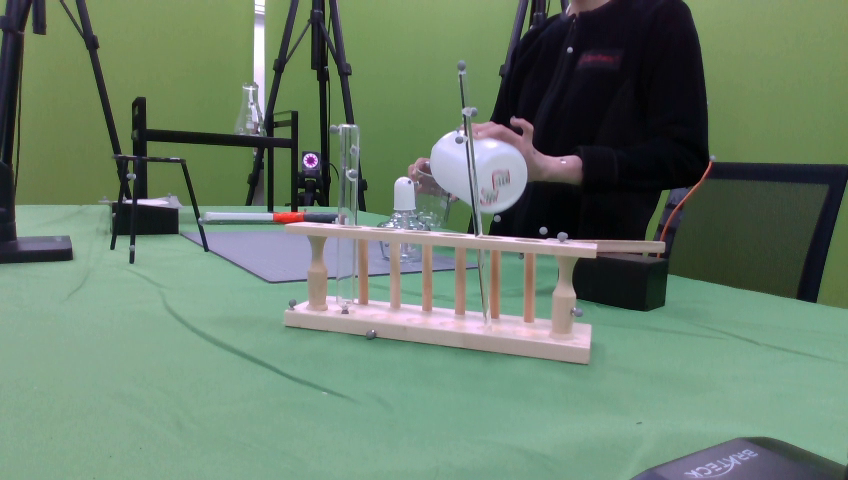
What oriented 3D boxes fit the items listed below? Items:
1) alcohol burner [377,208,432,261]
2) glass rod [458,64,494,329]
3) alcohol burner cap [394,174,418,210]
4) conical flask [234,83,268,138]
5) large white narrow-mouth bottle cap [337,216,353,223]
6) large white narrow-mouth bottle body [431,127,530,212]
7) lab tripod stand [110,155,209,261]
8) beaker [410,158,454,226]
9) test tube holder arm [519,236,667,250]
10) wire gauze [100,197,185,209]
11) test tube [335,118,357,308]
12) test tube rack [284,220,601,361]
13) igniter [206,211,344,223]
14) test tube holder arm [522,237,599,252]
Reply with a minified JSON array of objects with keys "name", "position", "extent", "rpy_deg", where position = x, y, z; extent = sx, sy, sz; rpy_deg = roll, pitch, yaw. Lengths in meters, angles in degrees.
[{"name":"alcohol burner","position":[-0.027,-0.031,0.838],"extent":[0.078,0.119,0.078],"rpy_deg":[0,6,0]},{"name":"glass rod","position":[0.039,-0.029,0.449],"extent":[0.008,0.199,0.008],"rpy_deg":[-7,9,1]},{"name":"alcohol burner cap","position":[-0.026,-0.067,0.834],"extent":[0.034,0.048,0.034],"rpy_deg":[-1,12,1]},{"name":"conical flask","position":[-0.400,-0.298,1.396],"extent":[0.075,0.122,0.075],"rpy_deg":[2,8,0]},{"name":"large white narrow-mouth bottle cap","position":[-0.161,-0.036,1.231],"extent":[0.038,0.024,0.037],"rpy_deg":[2,8,0]},{"name":"large white narrow-mouth bottle body","position":[0.068,-0.118,0.915],"extent":[0.102,0.101,0.193],"rpy_deg":[-2,23,-28]},{"name":"lab tripod stand","position":[-0.361,-0.046,0.806],"extent":[0.148,0.131,0.148],"rpy_deg":[2,5,0]},{"name":"beaker","position":[0.018,-0.080,1.037],"extent":[0.083,0.100,0.074],"rpy_deg":[25,31,30]},{"name":"test tube holder arm","position":[0.186,0.003,0.655],"extent":[0.179,0.015,0.013],"rpy_deg":[0,14,-18]},{"name":"wire gauze","position":[-0.469,-0.062,1.008],"extent":[0.126,0.011,0.121],"rpy_deg":[-2,8,-25]},{"name":"test tube","position":[-0.061,-0.019,0.476],"extent":[0.017,0.150,0.017],"rpy_deg":[2,11,0]},{"name":"test tube rack","position":[0.013,0.032,0.482],"extent":[0.242,0.085,0.067],"rpy_deg":[4,7,16]},{"name":"igniter","position":[-0.302,-0.048,1.249],"extent":[0.278,0.025,0.057],"rpy_deg":[-2,-2,-27]},{"name":"test tube holder arm","position":[0.144,0.004,0.635],"extent":[0.088,0.015,0.010],"rpy_deg":[-1,14,-19]}]
